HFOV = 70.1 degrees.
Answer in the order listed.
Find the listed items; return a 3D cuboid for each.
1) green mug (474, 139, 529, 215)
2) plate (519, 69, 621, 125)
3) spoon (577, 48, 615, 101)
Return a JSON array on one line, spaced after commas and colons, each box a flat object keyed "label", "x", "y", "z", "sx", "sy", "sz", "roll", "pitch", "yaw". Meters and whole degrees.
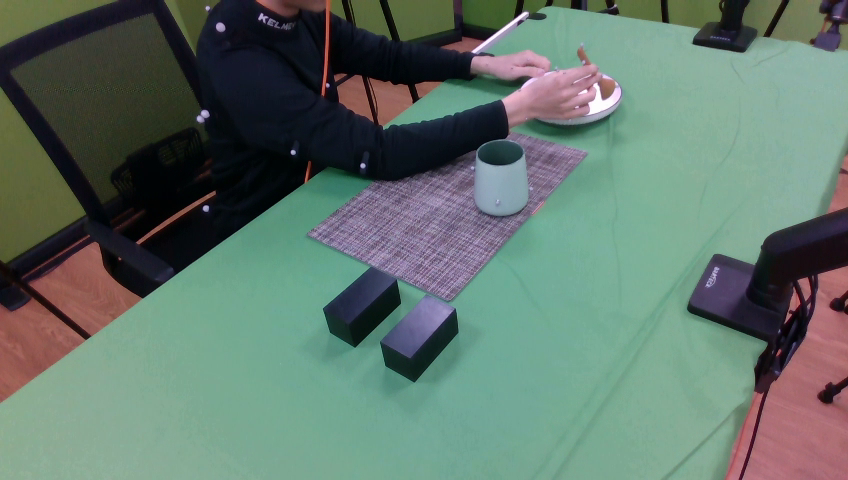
[{"label": "green mug", "x": 0.126, "y": -0.113, "z": 1.013, "sx": 0.092, "sy": 0.105, "sz": 0.124, "roll": -8, "pitch": 41, "yaw": 0}, {"label": "plate", "x": 0.300, "y": -0.293, "z": 1.253, "sx": 0.209, "sy": 0.038, "sz": 0.208, "roll": -4, "pitch": 41, "yaw": 4}, {"label": "spoon", "x": 0.309, "y": -0.300, "z": 1.097, "sx": 0.021, "sy": 0.195, "sz": 0.041, "roll": 41, "pitch": 102, "yaw": 36}]
